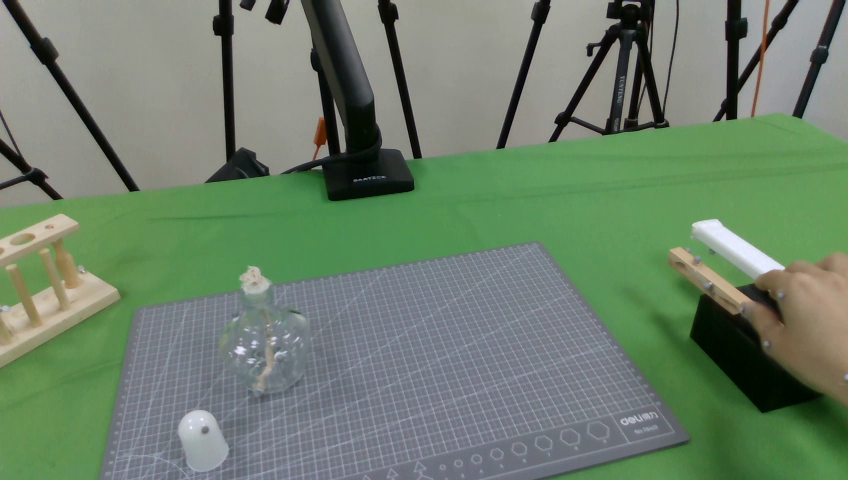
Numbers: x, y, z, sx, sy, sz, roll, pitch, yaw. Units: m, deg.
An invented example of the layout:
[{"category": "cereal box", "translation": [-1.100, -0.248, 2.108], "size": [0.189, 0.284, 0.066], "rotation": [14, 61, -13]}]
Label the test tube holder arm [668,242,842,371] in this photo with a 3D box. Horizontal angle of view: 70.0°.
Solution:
[{"category": "test tube holder arm", "translation": [0.276, 0.051, 0.523], "size": [0.015, 0.013, 0.176], "rotation": [-19, 35, -13]}]

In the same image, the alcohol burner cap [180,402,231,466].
[{"category": "alcohol burner cap", "translation": [-0.170, 0.145, 0.465], "size": [0.034, 0.048, 0.033], "rotation": [0, 34, 0]}]

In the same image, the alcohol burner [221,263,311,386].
[{"category": "alcohol burner", "translation": [-0.136, 0.067, 0.516], "size": [0.078, 0.120, 0.077], "rotation": [0, 35, 0]}]

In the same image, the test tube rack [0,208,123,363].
[{"category": "test tube rack", "translation": [-0.418, 0.067, 0.556], "size": [0.066, 0.086, 0.242], "rotation": [21, 40, 29]}]

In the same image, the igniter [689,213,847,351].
[{"category": "igniter", "translation": [0.330, 0.046, 0.530], "size": [0.057, 0.025, 0.273], "rotation": [-10, 32, -12]}]

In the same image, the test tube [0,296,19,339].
[{"category": "test tube", "translation": [-0.394, 0.028, 0.532], "size": [0.017, 0.151, 0.017], "rotation": [-1, 35, 1]}]

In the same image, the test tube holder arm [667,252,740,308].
[{"category": "test tube holder arm", "translation": [0.260, 0.034, 0.562], "size": [0.015, 0.010, 0.087], "rotation": [-19, 34, -14]}]
